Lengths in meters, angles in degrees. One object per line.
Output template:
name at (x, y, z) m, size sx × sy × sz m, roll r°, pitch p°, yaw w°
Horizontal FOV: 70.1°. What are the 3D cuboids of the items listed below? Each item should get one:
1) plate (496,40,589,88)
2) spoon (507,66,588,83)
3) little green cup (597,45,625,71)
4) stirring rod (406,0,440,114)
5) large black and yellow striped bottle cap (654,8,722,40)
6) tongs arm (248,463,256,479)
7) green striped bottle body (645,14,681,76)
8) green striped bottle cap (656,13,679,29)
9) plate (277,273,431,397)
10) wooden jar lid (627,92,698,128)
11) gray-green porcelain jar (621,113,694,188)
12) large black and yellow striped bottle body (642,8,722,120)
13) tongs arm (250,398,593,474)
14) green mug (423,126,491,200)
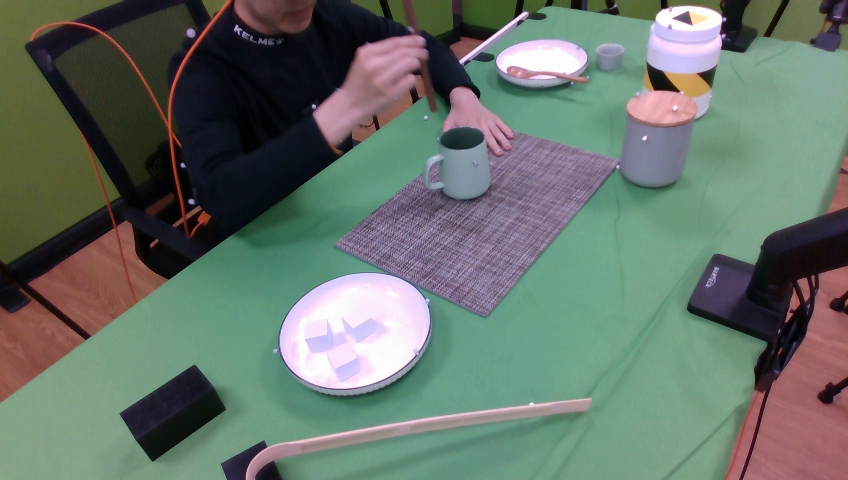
plate at (0.269, -0.398, 1.381) m, size 0.209 × 0.038 × 0.208 m, roll -4°, pitch 41°, yaw 4°
spoon at (0.265, -0.357, 1.311) m, size 0.192 × 0.022 × 0.042 m, roll 18°, pitch 47°, yaw 38°
little green cup at (0.422, -0.413, 1.375) m, size 0.061 × 0.039 × 0.061 m, roll -3°, pitch 41°, yaw 3°
stirring rod at (0.000, -0.269, 0.894) m, size 0.005 × 0.177 × 0.014 m, roll 17°, pitch 47°, yaw 39°
large black and yellow striped bottle cap at (0.483, -0.397, 1.108) m, size 0.115 × 0.019 × 0.114 m, roll -3°, pitch 41°, yaw 3°
tongs arm at (0.012, 0.262, 0.615) m, size 0.385 × 0.026 × 0.050 m, roll 3°, pitch 41°, yaw -2°
green striped bottle body at (0.520, -0.424, 1.312) m, size 0.063 × 0.120 × 0.063 m, roll -4°, pitch 41°, yaw 4°
green striped bottle cap at (0.515, -0.463, 1.278) m, size 0.044 × 0.020 × 0.044 m, roll -6°, pitch 42°, yaw 6°
plate at (-0.091, 0.129, 0.821) m, size 0.207 × 0.039 × 0.206 m, roll -4°, pitch 40°, yaw 4°
wooden jar lid at (0.384, -0.207, 0.980) m, size 0.108 × 0.021 × 0.108 m, roll -6°, pitch 39°, yaw 5°
gray-green porcelain jar at (0.390, -0.161, 1.020) m, size 0.106 × 0.127 × 0.105 m, roll -4°, pitch 41°, yaw 4°
large black and yellow striped bottle body at (0.493, -0.334, 1.161) m, size 0.131 × 0.185 × 0.130 m, roll -4°, pitch 41°, yaw 4°
tongs arm at (0.008, 0.212, 0.675) m, size 0.389 × 0.028 × 0.028 m, roll -5°, pitch 46°, yaw -11°
green mug at (0.055, -0.125, 1.039) m, size 0.126 × 0.105 × 0.091 m, roll -25°, pitch 44°, yaw -19°
